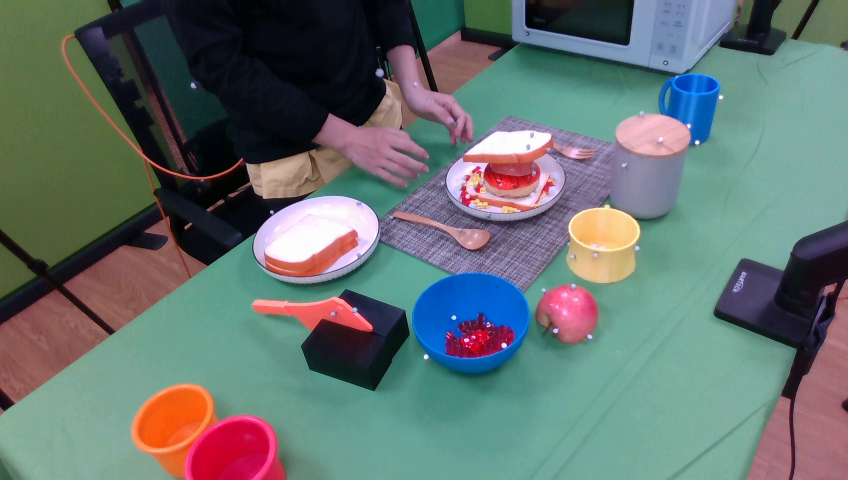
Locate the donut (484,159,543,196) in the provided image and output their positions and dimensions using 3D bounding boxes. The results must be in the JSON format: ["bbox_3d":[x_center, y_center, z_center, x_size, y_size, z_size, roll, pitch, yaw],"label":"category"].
[{"bbox_3d":[0.150,-0.112,1.018,0.099,0.048,0.098,-4,41,4],"label":"donut"}]

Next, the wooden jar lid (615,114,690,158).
[{"bbox_3d":[0.347,-0.155,0.923,0.108,0.021,0.108,-3,44,4],"label":"wooden jar lid"}]

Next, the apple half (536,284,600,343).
[{"bbox_3d":[0.196,0.091,0.815,0.075,0.053,0.080,-22,42,-20],"label":"apple half"}]

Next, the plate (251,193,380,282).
[{"bbox_3d":[-0.173,-0.001,0.984,0.209,0.038,0.208,-4,40,4],"label":"plate"}]

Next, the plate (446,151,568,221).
[{"bbox_3d":[0.142,-0.097,1.045,0.207,0.039,0.206,-4,41,4],"label":"plate"}]

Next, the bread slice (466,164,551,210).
[{"bbox_3d":[0.141,-0.093,1.042,0.133,0.018,0.107,9,42,19],"label":"bread slice"}]

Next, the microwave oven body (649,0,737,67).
[{"bbox_3d":[0.475,-0.602,1.411,0.438,0.261,0.327,23,50,32],"label":"microwave oven body"}]

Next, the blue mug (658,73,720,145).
[{"bbox_3d":[0.483,-0.250,1.127,0.082,0.106,0.115,-25,44,-19],"label":"blue mug"}]

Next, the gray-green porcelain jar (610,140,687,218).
[{"bbox_3d":[0.354,-0.106,0.964,0.106,0.127,0.105,-4,41,4],"label":"gray-green porcelain jar"}]

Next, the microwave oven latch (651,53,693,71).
[{"bbox_3d":[0.532,-0.387,1.301,0.078,0.029,0.030,28,52,34],"label":"microwave oven latch"}]

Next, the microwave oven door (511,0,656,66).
[{"bbox_3d":[0.351,-0.539,1.349,0.353,0.245,0.039,24,50,31],"label":"microwave oven door"}]

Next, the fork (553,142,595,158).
[{"bbox_3d":[0.225,-0.186,1.151,0.206,0.019,0.028,21,58,27],"label":"fork"}]

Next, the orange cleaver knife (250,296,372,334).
[{"bbox_3d":[-0.159,0.103,0.828,0.210,0.078,0.012,-4,43,39],"label":"orange cleaver knife"}]

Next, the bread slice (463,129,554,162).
[{"bbox_3d":[0.143,-0.154,0.974,0.130,0.019,0.105,9,35,38],"label":"bread slice"}]

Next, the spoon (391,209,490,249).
[{"bbox_3d":[0.023,-0.025,0.989,0.192,0.022,0.041,21,69,28],"label":"spoon"}]

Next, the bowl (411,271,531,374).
[{"bbox_3d":[0.062,0.119,0.780,0.151,0.077,0.150,-4,40,4],"label":"bowl"}]

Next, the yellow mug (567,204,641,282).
[{"bbox_3d":[0.268,-0.005,0.905,0.099,0.064,0.130,6,42,15],"label":"yellow mug"}]
